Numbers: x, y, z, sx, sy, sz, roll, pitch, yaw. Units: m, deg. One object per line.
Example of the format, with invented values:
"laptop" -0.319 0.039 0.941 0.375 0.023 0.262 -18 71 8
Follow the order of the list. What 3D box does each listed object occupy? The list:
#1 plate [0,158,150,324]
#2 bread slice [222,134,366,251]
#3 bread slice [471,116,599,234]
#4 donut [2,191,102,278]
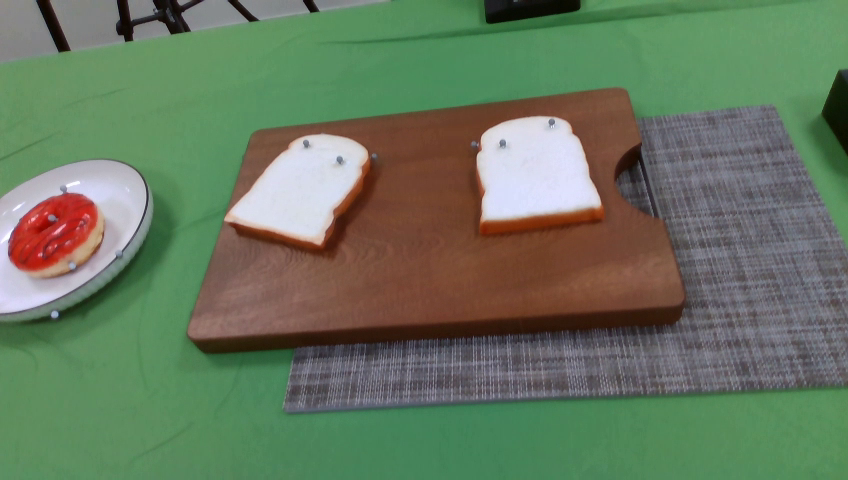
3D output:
"plate" -0.378 0.000 0.622 0.209 0.038 0.207 -6 50 8
"bread slice" -0.117 -0.050 0.583 0.106 0.018 0.133 11 55 20
"bread slice" 0.093 -0.064 0.550 0.105 0.019 0.130 -8 51 5
"donut" -0.376 -0.006 0.612 0.099 0.049 0.098 -7 51 9
